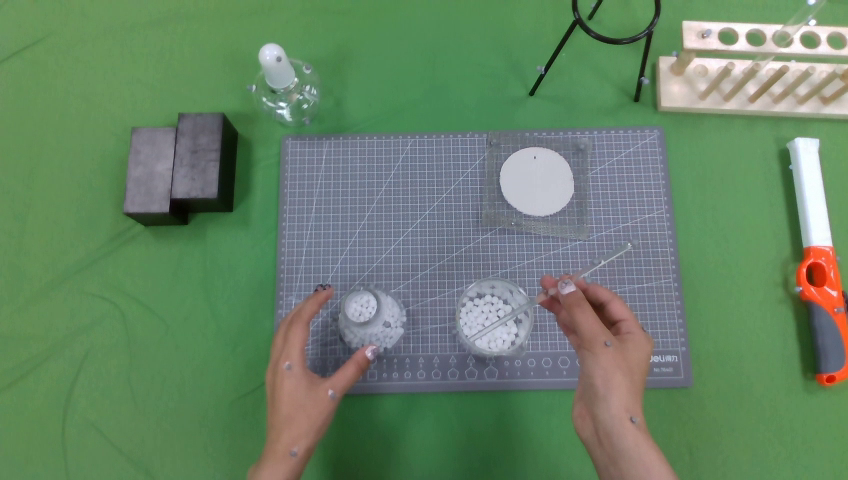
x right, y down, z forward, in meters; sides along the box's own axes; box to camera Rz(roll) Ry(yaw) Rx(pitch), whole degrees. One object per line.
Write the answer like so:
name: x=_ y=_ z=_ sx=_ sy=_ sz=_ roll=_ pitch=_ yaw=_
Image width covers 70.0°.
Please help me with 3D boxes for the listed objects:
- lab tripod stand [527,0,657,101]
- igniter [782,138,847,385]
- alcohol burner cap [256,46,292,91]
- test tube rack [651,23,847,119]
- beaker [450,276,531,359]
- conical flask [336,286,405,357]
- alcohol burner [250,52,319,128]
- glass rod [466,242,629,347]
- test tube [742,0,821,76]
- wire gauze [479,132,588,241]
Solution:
lab tripod stand: x=0.189 y=-0.220 z=0.674 sx=0.148 sy=0.132 sz=0.147 roll=0 pitch=78 yaw=1
igniter: x=0.431 y=0.019 z=0.669 sx=0.057 sy=0.025 sz=0.275 roll=3 pitch=76 yaw=-9
alcohol burner cap: x=-0.160 y=-0.185 z=0.641 sx=0.034 sy=0.048 sz=0.033 roll=0 pitch=70 yaw=0
test tube rack: x=0.395 y=-0.190 z=0.689 sx=0.242 sy=0.085 sz=0.066 roll=2 pitch=76 yaw=1
beaker: x=0.067 y=0.085 z=0.616 sx=0.074 sy=0.100 sz=0.083 roll=-37 pitch=79 yaw=-7
conical flask: x=-0.058 y=0.076 z=0.607 sx=0.075 sy=0.122 sz=0.075 roll=0 pitch=76 yaw=1
alcohol burner: x=-0.160 y=-0.174 z=0.675 sx=0.078 sy=0.119 sz=0.077 roll=0 pitch=77 yaw=2
glass rod: x=0.102 y=0.054 z=0.540 sx=0.008 sy=0.200 sz=0.008 roll=25 pitch=44 yaw=-27
test tube: x=0.378 y=-0.217 z=0.645 sx=0.017 sy=0.151 sz=0.017 roll=-1 pitch=76 yaw=3
wire gauze: x=0.128 y=-0.065 z=0.698 sx=0.125 sy=0.011 sz=0.121 roll=7 pitch=76 yaw=-1
